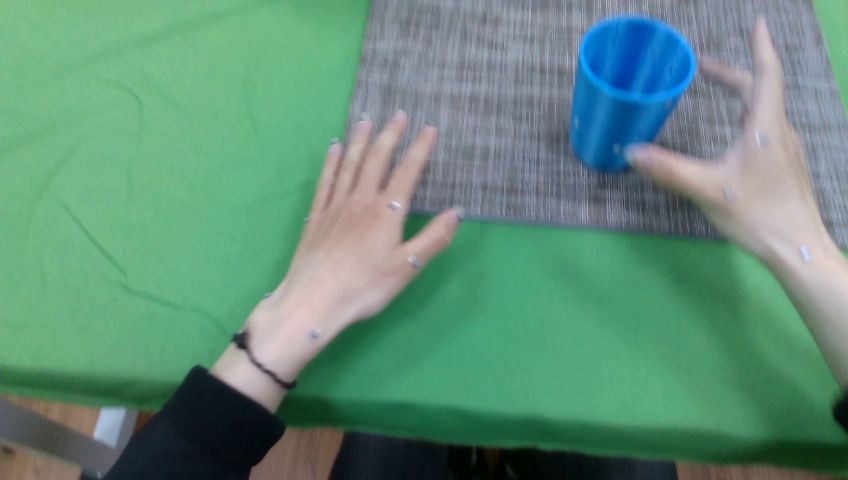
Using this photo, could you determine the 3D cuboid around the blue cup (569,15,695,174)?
[{"bbox_3d":[0.157,-0.106,0.489,0.092,0.101,0.092,0,60,1],"label":"blue cup"}]
